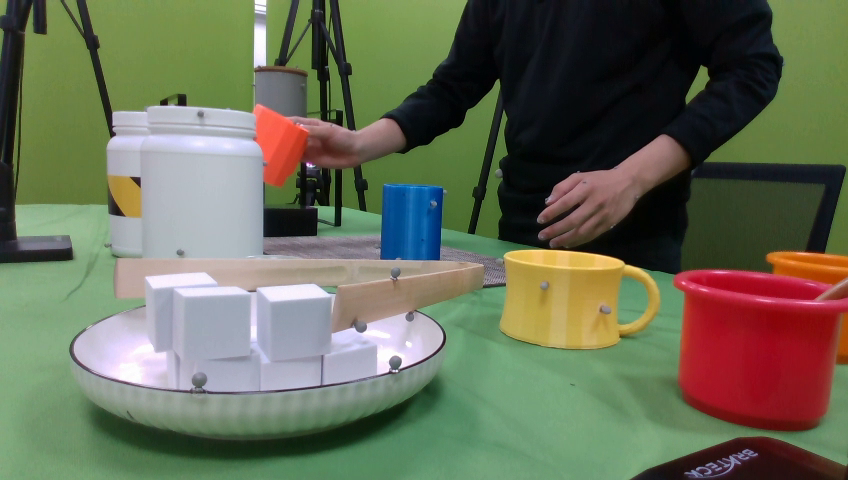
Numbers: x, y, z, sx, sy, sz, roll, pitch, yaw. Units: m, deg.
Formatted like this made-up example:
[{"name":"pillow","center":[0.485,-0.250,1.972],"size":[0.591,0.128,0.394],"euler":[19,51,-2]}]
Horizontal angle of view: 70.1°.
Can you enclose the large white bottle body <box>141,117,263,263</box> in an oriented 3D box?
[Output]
[{"name":"large white bottle body","center":[-0.254,-0.054,0.697],"size":[0.131,0.184,0.130],"euler":[2,7,0]}]

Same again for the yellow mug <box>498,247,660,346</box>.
[{"name":"yellow mug","center":[0.130,0.045,0.508],"size":[0.131,0.064,0.100],"euler":[4,7,6]}]

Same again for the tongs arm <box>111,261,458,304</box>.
[{"name":"tongs arm","center":[-0.080,0.032,0.527],"size":[0.028,0.027,0.389],"euler":[-3,-3,33]}]

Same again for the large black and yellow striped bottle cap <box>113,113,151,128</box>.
[{"name":"large black and yellow striped bottle cap","center":[-0.348,-0.154,0.800],"size":[0.115,0.019,0.115],"euler":[2,6,0]}]

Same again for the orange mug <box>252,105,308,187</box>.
[{"name":"orange mug","center":[-0.229,-0.143,0.936],"size":[0.083,0.100,0.126],"euler":[30,11,17]}]

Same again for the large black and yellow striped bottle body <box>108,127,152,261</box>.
[{"name":"large black and yellow striped bottle body","center":[-0.350,-0.071,0.812],"size":[0.131,0.184,0.130],"euler":[2,8,0]}]

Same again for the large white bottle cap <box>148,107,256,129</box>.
[{"name":"large white bottle cap","center":[-0.250,-0.137,0.686],"size":[0.115,0.018,0.115],"euler":[3,8,0]}]

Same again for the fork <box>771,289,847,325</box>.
[{"name":"fork","center":[0.335,0.018,0.443],"size":[0.028,0.018,0.207],"euler":[-1,-36,-20]}]

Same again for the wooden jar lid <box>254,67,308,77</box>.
[{"name":"wooden jar lid","center":[-0.296,-0.339,1.251],"size":[0.108,0.020,0.108],"euler":[2,7,0]}]

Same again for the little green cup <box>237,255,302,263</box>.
[{"name":"little green cup","center":[-0.150,0.038,0.590],"size":[0.061,0.038,0.061],"euler":[3,6,0]}]

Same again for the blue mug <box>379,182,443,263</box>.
[{"name":"blue mug","center":[-0.020,-0.026,0.833],"size":[0.082,0.106,0.116],"euler":[1,7,-7]}]

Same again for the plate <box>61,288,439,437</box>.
[{"name":"plate","center":[-0.095,0.069,0.362],"size":[0.208,0.039,0.207],"euler":[3,7,0]}]

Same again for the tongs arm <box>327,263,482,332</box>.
[{"name":"tongs arm","center":[-0.003,0.036,0.493],"size":[0.050,0.026,0.386],"euler":[1,0,19]}]

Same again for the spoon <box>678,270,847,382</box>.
[{"name":"spoon","center":[0.229,0.031,0.338],"size":[0.193,0.021,0.042],"euler":[-44,-17,27]}]

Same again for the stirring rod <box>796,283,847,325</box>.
[{"name":"stirring rod","center":[0.347,0.019,0.460],"size":[0.014,0.176,0.006],"euler":[-16,59,-26]}]

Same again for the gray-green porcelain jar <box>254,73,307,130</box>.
[{"name":"gray-green porcelain jar","center":[-0.298,-0.277,1.259],"size":[0.106,0.126,0.106],"euler":[3,7,0]}]
